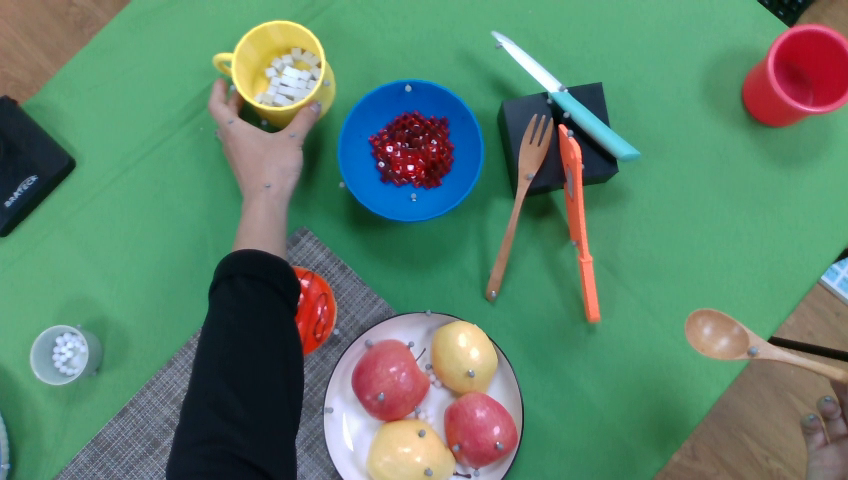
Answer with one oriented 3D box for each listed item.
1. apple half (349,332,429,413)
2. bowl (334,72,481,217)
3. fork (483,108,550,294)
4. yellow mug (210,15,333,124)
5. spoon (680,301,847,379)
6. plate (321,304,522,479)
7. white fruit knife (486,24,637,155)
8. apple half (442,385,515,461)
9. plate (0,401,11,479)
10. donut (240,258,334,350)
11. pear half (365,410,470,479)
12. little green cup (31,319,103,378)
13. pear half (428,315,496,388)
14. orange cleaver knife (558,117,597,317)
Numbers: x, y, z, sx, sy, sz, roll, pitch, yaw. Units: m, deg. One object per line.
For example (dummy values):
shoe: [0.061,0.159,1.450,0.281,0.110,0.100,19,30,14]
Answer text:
apple half: [-0.038,0.139,0.623,0.074,0.053,0.080,-29,87,-3]
bowl: [-0.017,-0.093,0.651,0.151,0.077,0.151,0,84,0]
fork: [0.093,-0.037,0.640,0.028,0.018,0.208,12,104,-7]
yellow mug: [-0.171,-0.189,0.668,0.131,0.064,0.099,10,84,3]
spoon: [0.305,0.095,0.488,0.192,0.022,0.041,19,71,20]
plate: [-0.002,0.172,0.637,0.209,0.038,0.208,0,83,0]
white fruit knife: [0.142,-0.160,0.641,0.207,0.016,0.027,44,56,6]
apple half: [0.049,0.190,0.618,0.081,0.033,0.081,2,99,18]
plate: [-0.533,0.222,0.634,0.208,0.039,0.207,0,83,0]
donut: [-0.145,0.068,0.645,0.099,0.048,0.099,0,85,1]
pear half: [-0.003,0.220,0.618,0.110,0.056,0.076,17,88,-2]
little green cup: [-0.378,0.115,0.647,0.061,0.039,0.061,0,83,1]
pear half: [0.037,0.123,0.628,0.070,0.031,0.088,-17,94,21]
orange cleaver knife: [0.161,-0.022,0.641,0.012,0.076,0.212,-11,109,4]
